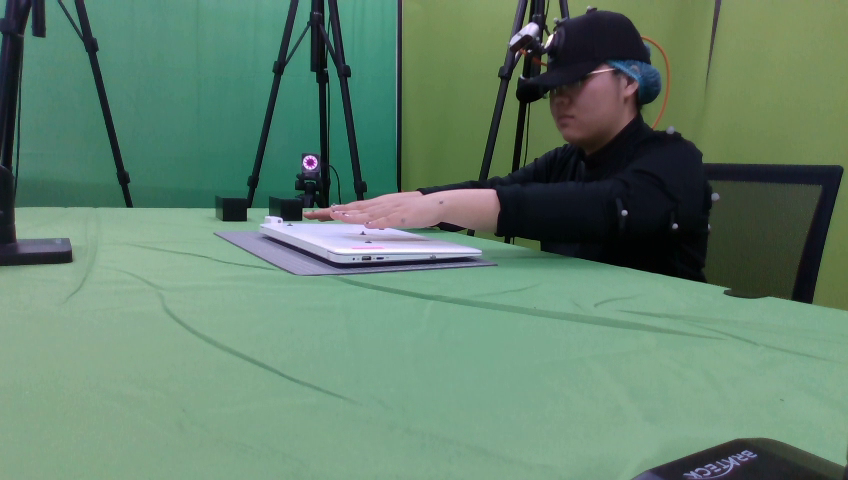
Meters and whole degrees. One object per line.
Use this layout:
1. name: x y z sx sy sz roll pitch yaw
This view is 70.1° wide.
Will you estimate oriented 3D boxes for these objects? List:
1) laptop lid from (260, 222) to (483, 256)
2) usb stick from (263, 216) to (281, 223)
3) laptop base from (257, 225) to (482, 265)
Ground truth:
1. laptop lid: -0.099 -0.005 0.962 0.243 0.013 0.355 1 7 -30
2. usb stick: -0.269 -0.028 1.080 0.021 0.027 0.059 -2 11 -30
3. laptop base: -0.102 0.006 0.962 0.237 0.023 0.352 2 6 -32
